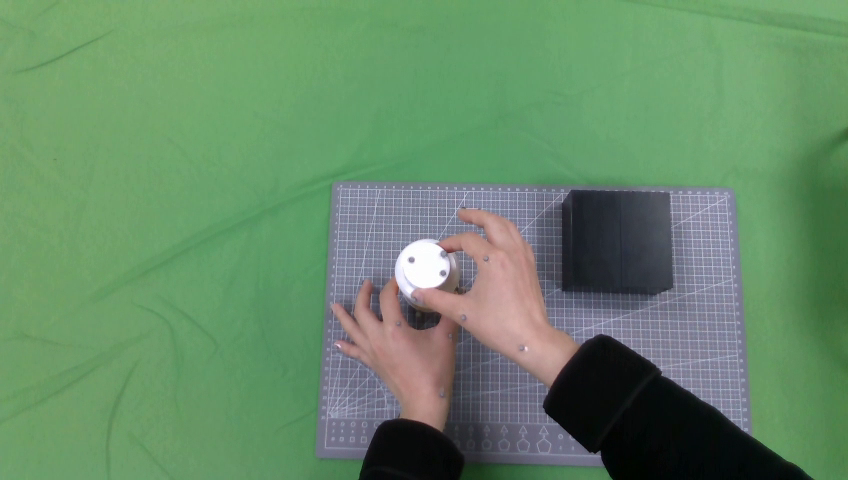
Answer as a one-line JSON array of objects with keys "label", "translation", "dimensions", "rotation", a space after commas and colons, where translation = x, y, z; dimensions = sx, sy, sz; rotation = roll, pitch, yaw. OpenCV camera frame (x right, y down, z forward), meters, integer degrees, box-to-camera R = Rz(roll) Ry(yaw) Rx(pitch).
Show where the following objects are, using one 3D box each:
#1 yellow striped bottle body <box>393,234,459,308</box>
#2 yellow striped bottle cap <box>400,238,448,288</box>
[{"label": "yellow striped bottle body", "translation": [0.003, 0.032, 0.603], "dimensions": [0.063, 0.121, 0.062], "rotation": [0, 78, 1]}, {"label": "yellow striped bottle cap", "translation": [0.000, 0.020, 0.550], "dimensions": [0.044, 0.019, 0.044], "rotation": [0, 75, -1]}]
